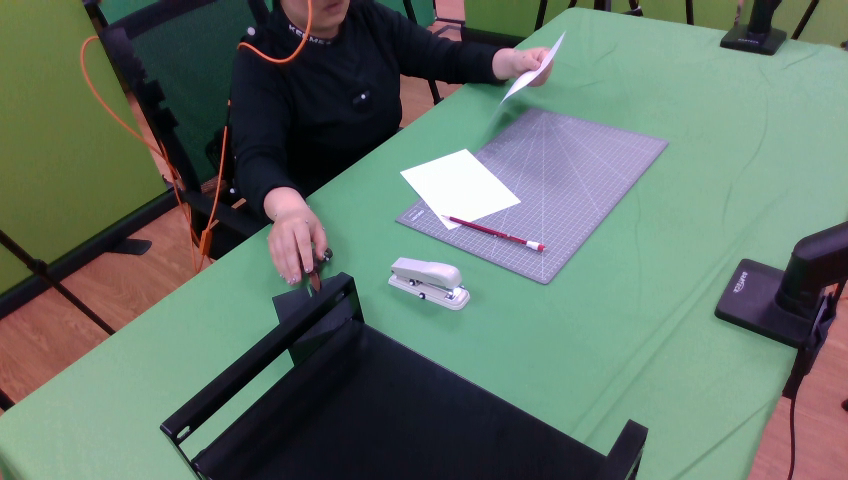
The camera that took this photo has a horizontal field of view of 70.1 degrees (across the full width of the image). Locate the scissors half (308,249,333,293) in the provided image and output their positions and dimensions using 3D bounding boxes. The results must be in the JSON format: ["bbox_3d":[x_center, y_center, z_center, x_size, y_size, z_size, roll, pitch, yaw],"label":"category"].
[{"bbox_3d":[-0.158,0.046,0.914,0.040,0.013,0.174,-6,20,-6],"label":"scissors half"}]

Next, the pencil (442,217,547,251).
[{"bbox_3d":[0.110,-0.012,0.979,0.192,0.012,0.012,18,46,30],"label":"pencil"}]

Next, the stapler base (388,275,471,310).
[{"bbox_3d":[0.007,0.066,0.897,0.129,0.024,0.041,17,43,29],"label":"stapler base"}]

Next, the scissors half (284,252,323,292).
[{"bbox_3d":[-0.178,0.049,0.909,0.040,0.013,0.173,-18,22,-21],"label":"scissors half"}]

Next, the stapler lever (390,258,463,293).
[{"bbox_3d":[0.002,0.046,0.881,0.117,0.040,0.027,17,44,29],"label":"stapler lever"}]
